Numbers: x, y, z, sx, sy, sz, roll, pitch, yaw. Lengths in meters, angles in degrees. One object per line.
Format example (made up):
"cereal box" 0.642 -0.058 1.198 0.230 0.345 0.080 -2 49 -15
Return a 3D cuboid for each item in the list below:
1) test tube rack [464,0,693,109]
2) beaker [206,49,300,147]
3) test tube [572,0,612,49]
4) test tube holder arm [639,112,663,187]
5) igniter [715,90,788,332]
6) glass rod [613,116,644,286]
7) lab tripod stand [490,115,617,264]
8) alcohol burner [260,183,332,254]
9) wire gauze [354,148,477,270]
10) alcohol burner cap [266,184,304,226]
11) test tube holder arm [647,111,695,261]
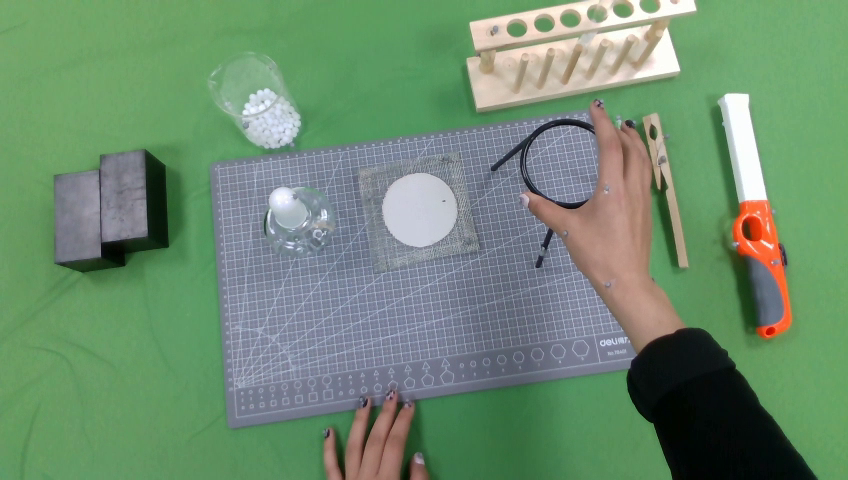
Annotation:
"test tube rack" 0.171 -0.218 0.686 0.242 0.085 0.066 -11 77 -1
"beaker" -0.185 -0.152 0.670 0.084 0.101 0.073 10 77 4
"test tube" 0.186 -0.248 0.641 0.017 0.151 0.017 1 76 -4
"test tube holder arm" 0.263 -0.104 0.695 0.010 0.015 0.087 -19 74 37
"igniter" 0.362 -0.037 0.672 0.057 0.025 0.275 -1 77 -9
"glass rod" 0.232 -0.047 0.687 0.008 0.008 0.199 -6 81 -1
"lab tripod stand" 0.130 -0.060 0.623 0.148 0.132 0.147 -1 76 2
"alcohol burner" -0.138 -0.027 0.632 0.078 0.119 0.077 -1 76 3
"wire gauze" -0.011 -0.037 0.686 0.121 0.011 0.124 -11 81 -2
"alcohol burner cap" -0.139 -0.037 0.597 0.034 0.048 0.033 0 68 0
"test tube holder arm" 0.275 -0.062 0.681 0.013 0.015 0.177 -22 72 36
